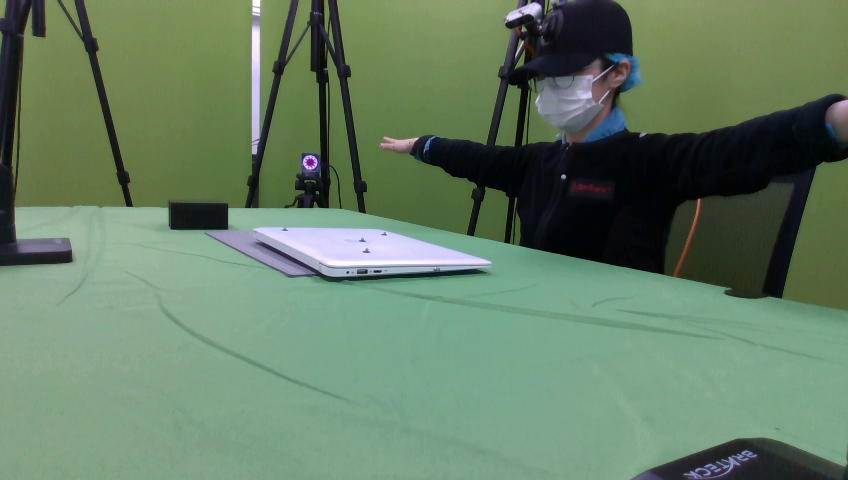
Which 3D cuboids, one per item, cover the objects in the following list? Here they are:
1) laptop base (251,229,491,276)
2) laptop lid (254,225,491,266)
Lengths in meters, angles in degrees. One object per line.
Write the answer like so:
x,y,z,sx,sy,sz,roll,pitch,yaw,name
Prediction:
-0.095,0.015,0.889,0.237,0.023,0.352,2,7,-30,laptop base
-0.092,0.003,0.888,0.243,0.013,0.355,1,8,-29,laptop lid
